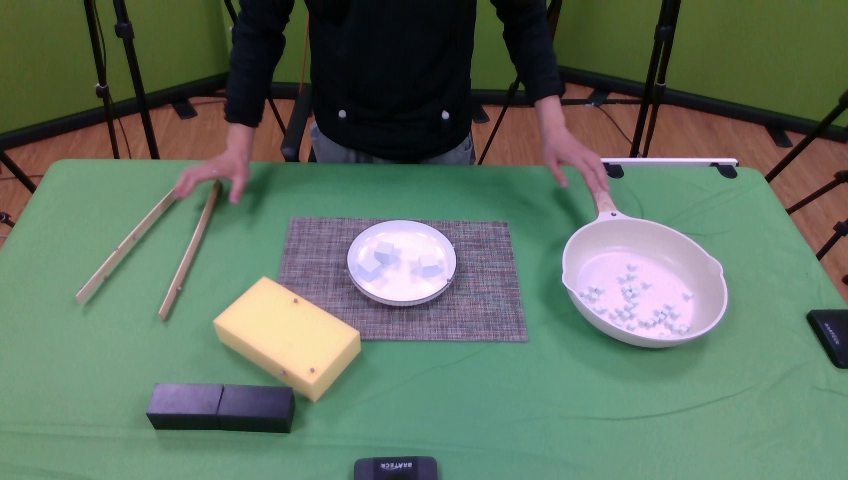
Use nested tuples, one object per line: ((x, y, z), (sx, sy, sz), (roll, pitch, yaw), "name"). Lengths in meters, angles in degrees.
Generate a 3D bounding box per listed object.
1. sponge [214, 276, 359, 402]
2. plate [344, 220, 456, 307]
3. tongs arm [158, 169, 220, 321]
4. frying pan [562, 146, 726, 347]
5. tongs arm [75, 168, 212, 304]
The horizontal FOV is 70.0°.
((-0.224, 0.158, 0.998), (0.206, 0.061, 0.118), (27, 52, 18), "sponge")
((-0.044, 0.047, 1.133), (0.208, 0.039, 0.206), (3, 46, -2), "plate")
((-0.446, -0.005, 1.164), (0.028, 0.028, 0.385), (1, 46, 0), "tongs arm")
((0.378, -0.005, 1.175), (0.307, 0.103, 0.484), (-4, 55, -10), "frying pan")
((-0.525, -0.021, 1.167), (0.051, 0.026, 0.383), (13, 45, 7), "tongs arm")
